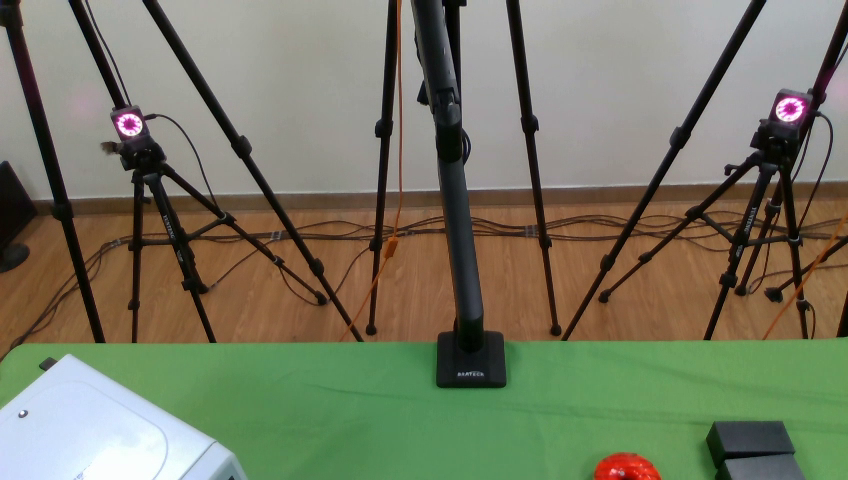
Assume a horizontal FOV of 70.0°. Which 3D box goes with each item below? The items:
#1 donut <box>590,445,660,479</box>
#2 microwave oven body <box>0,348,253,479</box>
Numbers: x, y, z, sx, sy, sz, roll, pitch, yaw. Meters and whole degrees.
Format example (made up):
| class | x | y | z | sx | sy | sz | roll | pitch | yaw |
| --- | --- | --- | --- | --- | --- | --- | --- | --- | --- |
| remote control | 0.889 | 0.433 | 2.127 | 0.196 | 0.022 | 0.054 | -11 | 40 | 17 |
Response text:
| class | x | y | z | sx | sy | sz | roll | pitch | yaw |
| --- | --- | --- | --- | --- | --- | --- | --- | --- | --- |
| donut | 0.289 | 0.343 | 0.871 | 0.099 | 0.049 | 0.098 | -5 | 39 | 4 |
| microwave oven body | -0.454 | 0.403 | 0.700 | 0.324 | 0.262 | 0.440 | 20 | 48 | 23 |
